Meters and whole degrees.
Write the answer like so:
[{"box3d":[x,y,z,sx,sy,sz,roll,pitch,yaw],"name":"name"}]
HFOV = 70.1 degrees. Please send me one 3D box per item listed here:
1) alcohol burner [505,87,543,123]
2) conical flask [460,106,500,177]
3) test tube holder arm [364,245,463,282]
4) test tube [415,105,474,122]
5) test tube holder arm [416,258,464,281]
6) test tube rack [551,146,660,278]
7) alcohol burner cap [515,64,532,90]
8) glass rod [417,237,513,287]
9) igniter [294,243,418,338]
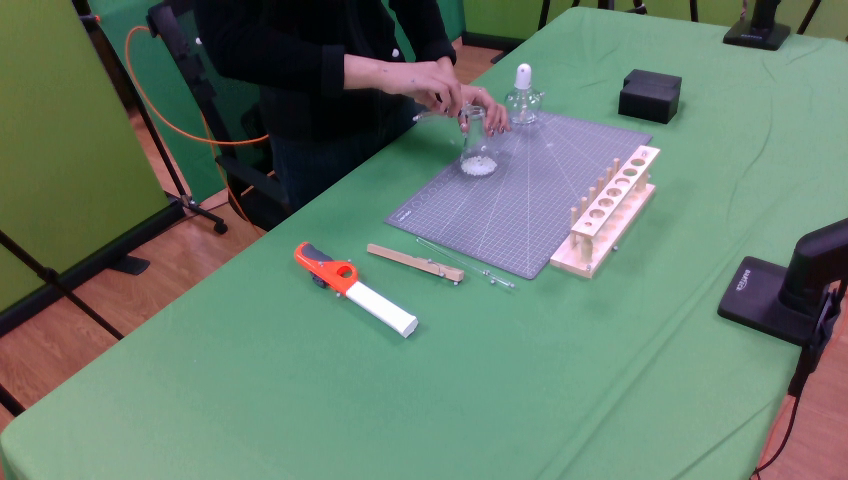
[{"box3d":[0.202,-0.298,1.222,0.078,0.119,0.077,-4,40,4],"name":"alcohol burner"},{"box3d":[0.097,-0.181,1.097,0.075,0.122,0.075,-6,40,5],"name":"conical flask"},{"box3d":[-0.020,0.035,0.947,0.177,0.015,0.013,16,9,26],"name":"test tube holder arm"},{"box3d":[0.036,-0.208,0.992,0.017,0.017,0.151,22,28,32],"name":"test tube"},{"box3d":[0.022,0.045,0.931,0.087,0.015,0.010,16,9,28],"name":"test tube holder arm"},{"box3d":[0.286,-0.053,0.943,0.066,0.085,0.243,21,49,32],"name":"test tube rack"},{"box3d":[0.199,-0.324,1.198,0.034,0.048,0.033,0,45,1],"name":"alcohol burner cap"},{"box3d":[0.059,0.033,0.944,0.198,0.008,0.008,26,52,38],"name":"glass rod"},{"box3d":[-0.114,0.070,0.919,0.274,0.025,0.057,29,63,37],"name":"igniter"}]
